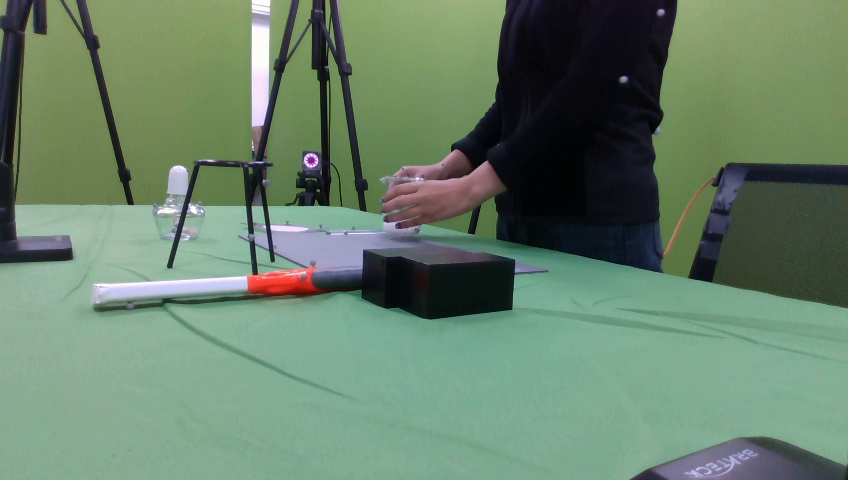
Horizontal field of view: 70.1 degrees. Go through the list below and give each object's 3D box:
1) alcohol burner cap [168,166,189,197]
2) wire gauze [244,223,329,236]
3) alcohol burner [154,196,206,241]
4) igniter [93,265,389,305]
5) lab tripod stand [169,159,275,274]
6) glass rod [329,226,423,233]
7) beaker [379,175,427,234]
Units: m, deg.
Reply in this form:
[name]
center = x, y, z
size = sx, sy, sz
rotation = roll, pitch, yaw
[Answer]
[alcohol burner cap]
center = -0.392, -0.095, 0.970
size = 0.034, 0.048, 0.034
rotation = 7, 7, -1
[wire gauze]
center = -0.266, -0.024, 1.156
size = 0.124, 0.011, 0.122
rotation = 12, 12, 40
[alcohol burner]
center = -0.393, -0.059, 0.974
size = 0.078, 0.119, 0.078
rotation = 1, 8, 0
[igniter]
center = -0.164, 0.042, 0.589
size = 0.278, 0.025, 0.057
rotation = -2, -7, -31
[lab tripod stand]
center = -0.230, -0.030, 0.724
size = 0.148, 0.131, 0.148
rotation = 1, 9, 0
[glass rod]
center = -0.087, -0.020, 1.148
size = 0.201, 0.008, 0.008
rotation = -3, 8, -32
[beaker]
center = -0.040, -0.064, 1.071
size = 0.084, 0.100, 0.074
rotation = 5, 8, 3
